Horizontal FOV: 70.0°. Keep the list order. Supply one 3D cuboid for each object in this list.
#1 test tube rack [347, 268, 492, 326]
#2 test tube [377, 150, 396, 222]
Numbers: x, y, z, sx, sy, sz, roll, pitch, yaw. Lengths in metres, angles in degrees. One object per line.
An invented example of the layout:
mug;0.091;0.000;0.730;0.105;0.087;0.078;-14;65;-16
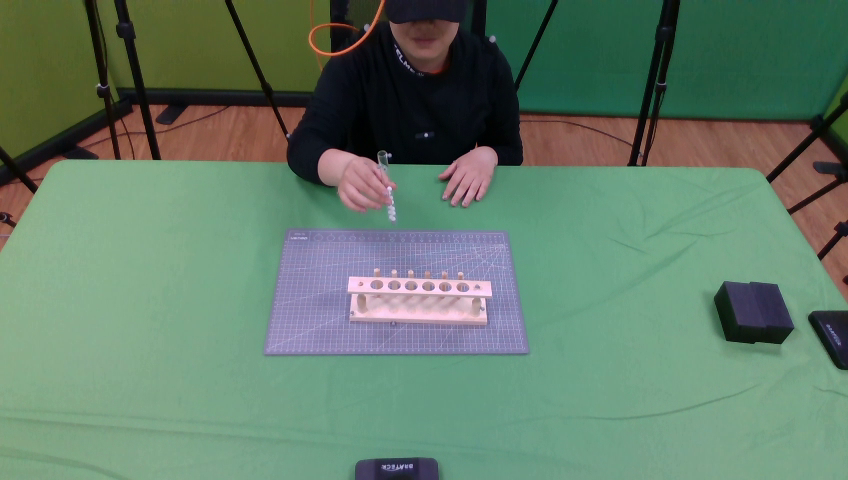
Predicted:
test tube rack;-0.009;0.095;1.059;0.242;0.085;0.066;2;46;-2
test tube;-0.062;-0.088;1.019;0.017;0.151;0.017;-3;45;3
